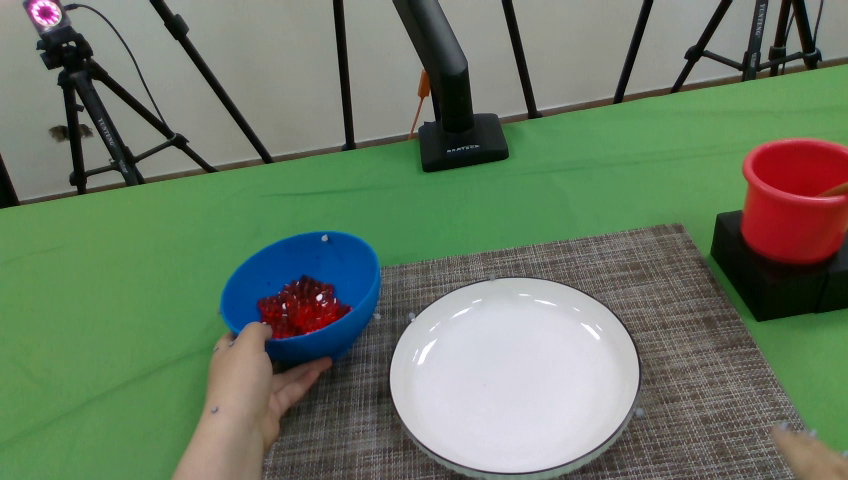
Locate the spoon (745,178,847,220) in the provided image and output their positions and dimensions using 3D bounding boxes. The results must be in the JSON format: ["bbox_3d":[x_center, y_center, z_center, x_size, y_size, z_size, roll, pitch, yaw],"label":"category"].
[{"bbox_3d":[0.331,-0.040,0.477,0.041,0.021,0.194,-23,-4,-14],"label":"spoon"}]

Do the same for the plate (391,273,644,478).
[{"bbox_3d":[0.077,0.111,0.517,0.207,0.039,0.205,-7,38,6],"label":"plate"}]

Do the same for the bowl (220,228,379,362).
[{"bbox_3d":[-0.110,0.065,0.587,0.151,0.077,0.150,-7,39,6],"label":"bowl"}]
